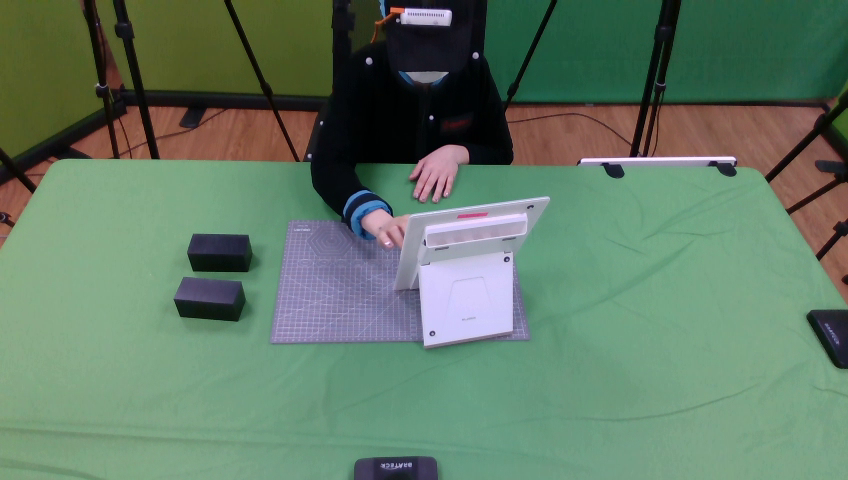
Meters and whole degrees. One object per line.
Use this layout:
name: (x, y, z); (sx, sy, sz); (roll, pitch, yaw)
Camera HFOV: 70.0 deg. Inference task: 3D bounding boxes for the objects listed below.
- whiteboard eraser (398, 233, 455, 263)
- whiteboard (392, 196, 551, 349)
whiteboard eraser: (0.004, 0.013, 0.997); (0.101, 0.041, 0.018); (-23, 65, 23)
whiteboard: (0.077, 0.071, 0.977); (0.217, 0.306, 0.143); (-7, 67, -11)
